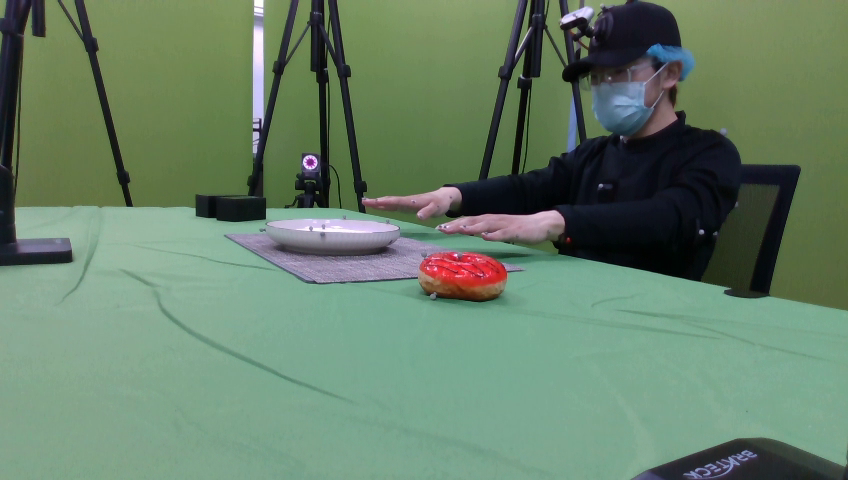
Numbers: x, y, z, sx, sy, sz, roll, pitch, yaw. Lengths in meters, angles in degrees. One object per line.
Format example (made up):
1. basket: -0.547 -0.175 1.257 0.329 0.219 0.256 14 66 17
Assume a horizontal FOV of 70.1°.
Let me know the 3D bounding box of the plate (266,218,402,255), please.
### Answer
1. plate: -0.138 -0.006 0.941 0.208 0.039 0.207 2 7 0

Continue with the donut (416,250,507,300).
1. donut: 0.041 0.038 0.650 0.099 0.048 0.099 4 9 0

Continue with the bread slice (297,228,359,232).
1. bread slice: -0.142 -0.004 0.939 0.131 0.019 0.105 8 8 33
